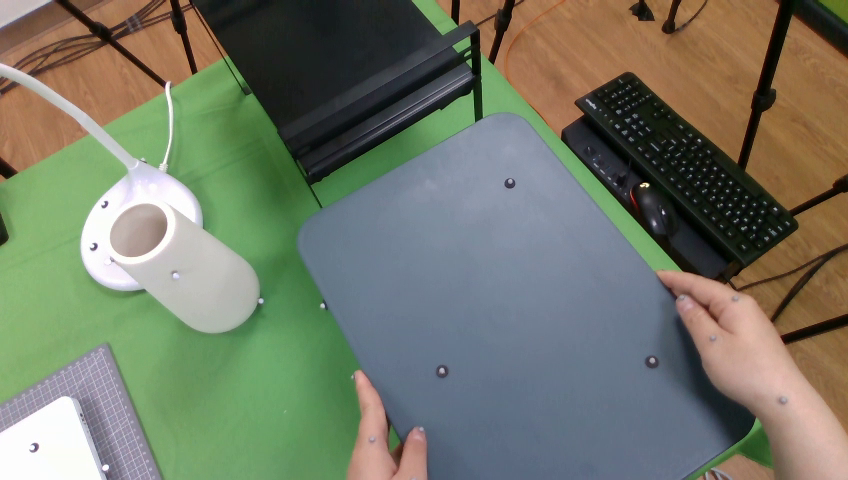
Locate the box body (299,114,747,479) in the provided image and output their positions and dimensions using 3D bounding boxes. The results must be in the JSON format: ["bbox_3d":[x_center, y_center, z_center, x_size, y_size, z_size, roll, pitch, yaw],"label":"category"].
[{"bbox_3d":[0.078,0.092,0.606,0.254,0.161,0.361,-31,66,-8],"label":"box body"}]

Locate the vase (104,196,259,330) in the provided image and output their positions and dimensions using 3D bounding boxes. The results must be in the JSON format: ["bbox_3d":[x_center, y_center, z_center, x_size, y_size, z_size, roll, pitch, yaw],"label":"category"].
[{"bbox_3d":[-0.254,0.028,0.651,0.098,0.201,0.097,-3,65,7],"label":"vase"}]

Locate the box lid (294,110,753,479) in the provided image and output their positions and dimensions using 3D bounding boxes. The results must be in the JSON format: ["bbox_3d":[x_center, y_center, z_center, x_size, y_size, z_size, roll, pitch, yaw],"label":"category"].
[{"bbox_3d":[0.068,0.062,0.532,0.263,0.015,0.368,-30,67,-7],"label":"box lid"}]

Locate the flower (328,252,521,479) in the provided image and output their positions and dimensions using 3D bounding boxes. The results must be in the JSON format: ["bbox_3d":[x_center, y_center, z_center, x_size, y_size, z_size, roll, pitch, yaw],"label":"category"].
[{"bbox_3d":[0.019,0.153,0.633,0.359,0.038,0.044,50,36,13],"label":"flower"}]

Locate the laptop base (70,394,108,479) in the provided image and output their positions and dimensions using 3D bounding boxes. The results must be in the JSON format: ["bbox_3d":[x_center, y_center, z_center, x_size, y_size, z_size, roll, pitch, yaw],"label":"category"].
[{"bbox_3d":[-0.488,0.351,0.631,0.354,0.023,0.233,-32,70,-8],"label":"laptop base"}]

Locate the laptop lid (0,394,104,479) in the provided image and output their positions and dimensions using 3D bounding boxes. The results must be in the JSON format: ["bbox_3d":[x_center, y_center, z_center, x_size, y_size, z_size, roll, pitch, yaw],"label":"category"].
[{"bbox_3d":[-0.488,0.348,0.620,0.357,0.013,0.239,-30,69,-7],"label":"laptop lid"}]

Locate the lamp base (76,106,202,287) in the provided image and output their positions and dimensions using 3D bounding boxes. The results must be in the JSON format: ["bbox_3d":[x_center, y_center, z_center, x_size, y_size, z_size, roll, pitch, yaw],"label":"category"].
[{"bbox_3d":[-0.371,-0.058,0.712,0.160,0.182,0.177,-1,63,6],"label":"lamp base"}]

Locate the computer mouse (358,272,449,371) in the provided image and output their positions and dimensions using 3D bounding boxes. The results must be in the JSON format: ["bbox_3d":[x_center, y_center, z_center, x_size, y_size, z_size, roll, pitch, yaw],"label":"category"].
[{"bbox_3d":[-0.026,0.088,0.681,0.063,0.041,0.116,-37,59,-6],"label":"computer mouse"}]
